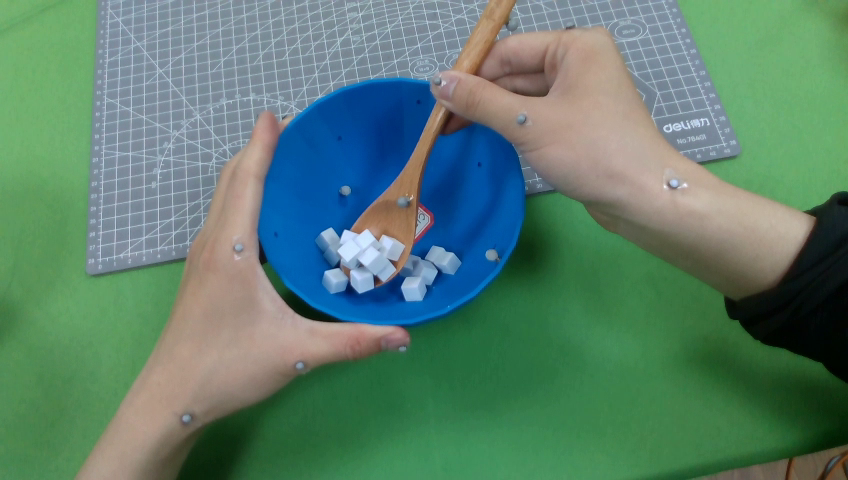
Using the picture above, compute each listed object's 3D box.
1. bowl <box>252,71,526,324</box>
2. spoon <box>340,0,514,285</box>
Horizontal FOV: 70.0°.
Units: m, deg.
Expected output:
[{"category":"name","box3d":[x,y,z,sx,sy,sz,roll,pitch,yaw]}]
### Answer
[{"category":"bowl","box3d":[-0.018,-0.016,0.367,0.151,0.077,0.150,-1,71,2]},{"category":"spoon","box3d":[0.006,-0.060,0.326,0.041,0.022,0.194,35,109,23]}]
